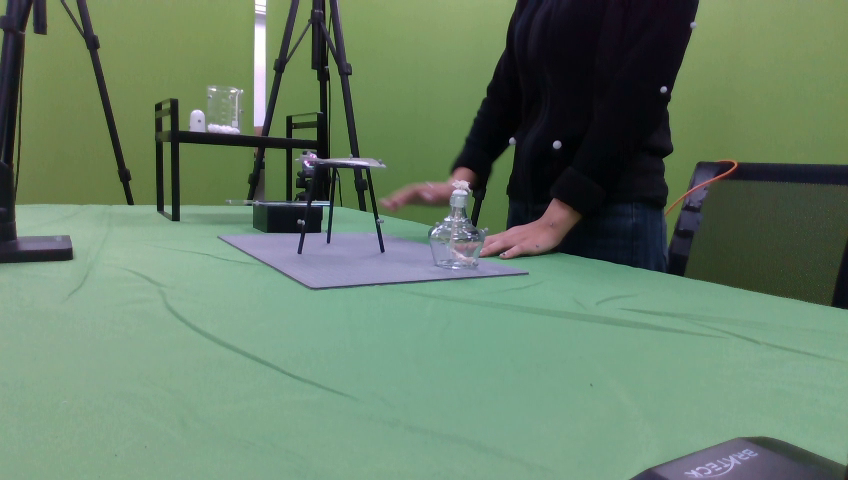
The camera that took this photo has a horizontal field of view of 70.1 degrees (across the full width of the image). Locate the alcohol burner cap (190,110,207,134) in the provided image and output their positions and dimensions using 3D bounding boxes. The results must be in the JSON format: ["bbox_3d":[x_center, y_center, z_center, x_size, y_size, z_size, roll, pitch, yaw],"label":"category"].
[{"bbox_3d":[-0.464,-0.242,1.241,0.034,0.048,0.034,1,7,0],"label":"alcohol burner cap"}]

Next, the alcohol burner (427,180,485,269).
[{"bbox_3d":[0.044,-0.021,0.807,0.078,0.119,0.078,4,6,0],"label":"alcohol burner"}]

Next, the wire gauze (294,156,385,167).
[{"bbox_3d":[-0.128,-0.118,0.901,0.125,0.011,0.121,0,8,-14],"label":"wire gauze"}]

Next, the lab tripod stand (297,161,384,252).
[{"bbox_3d":[-0.130,-0.051,0.903,0.148,0.131,0.148,3,9,0],"label":"lab tripod stand"}]

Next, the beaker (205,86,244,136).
[{"bbox_3d":[-0.430,-0.278,1.310,0.084,0.100,0.074,5,8,13],"label":"beaker"}]

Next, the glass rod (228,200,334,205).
[{"bbox_3d":[-0.268,-0.071,1.148,0.201,0.008,0.008,-1,8,-28],"label":"glass rod"}]
